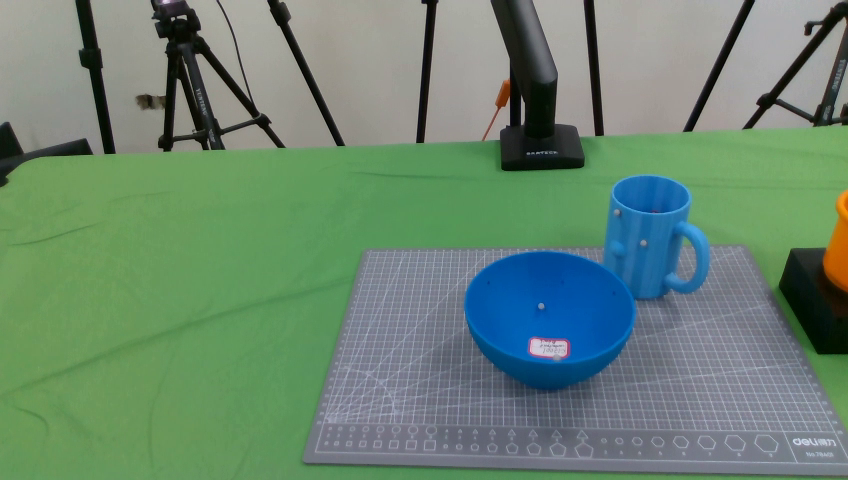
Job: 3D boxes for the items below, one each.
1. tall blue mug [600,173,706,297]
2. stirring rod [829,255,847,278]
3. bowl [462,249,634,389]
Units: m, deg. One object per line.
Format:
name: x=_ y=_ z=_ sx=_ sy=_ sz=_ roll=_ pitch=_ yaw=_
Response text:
tall blue mug: x=0.241 y=-0.001 z=0.631 sx=0.106 sy=0.109 sz=0.077 roll=15 pitch=40 yaw=26
stirring rod: x=0.440 y=-0.025 z=0.534 sx=0.176 sy=0.006 sz=0.014 roll=-44 pitch=33 yaw=20
bowl: x=0.111 y=0.084 z=0.560 sx=0.151 sy=0.077 sz=0.150 roll=-3 pitch=36 yaw=3
